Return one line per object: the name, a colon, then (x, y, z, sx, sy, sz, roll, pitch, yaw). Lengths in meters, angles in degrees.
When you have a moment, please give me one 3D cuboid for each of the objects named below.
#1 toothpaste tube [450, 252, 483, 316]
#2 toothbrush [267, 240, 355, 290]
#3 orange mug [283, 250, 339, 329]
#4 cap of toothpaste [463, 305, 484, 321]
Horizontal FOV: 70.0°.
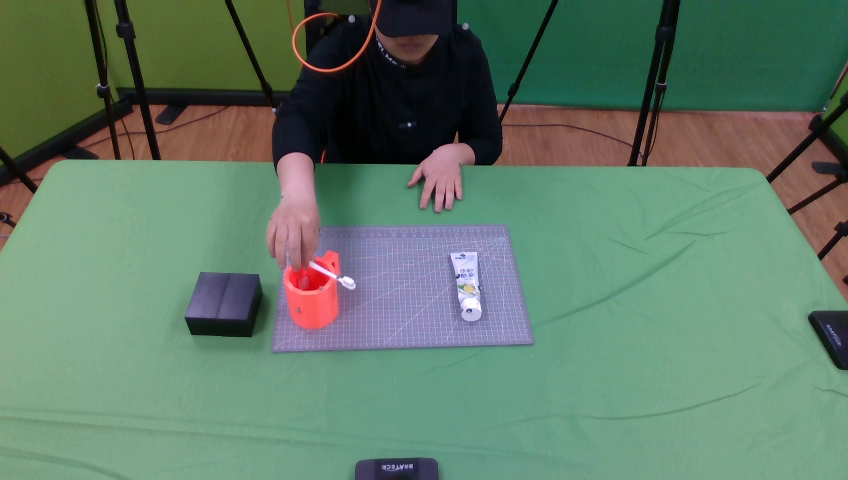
toothpaste tube: (0.084, 0.077, 1.122, 0.055, 0.035, 0.164, 3, 41, -8)
toothbrush: (-0.191, 0.039, 1.008, 0.181, 0.017, 0.014, 25, 61, 19)
orange mug: (-0.186, 0.078, 1.052, 0.083, 0.101, 0.126, 20, 52, 15)
cap of toothpaste: (0.087, 0.128, 1.064, 0.037, 0.037, 0.011, 2, 40, -2)
